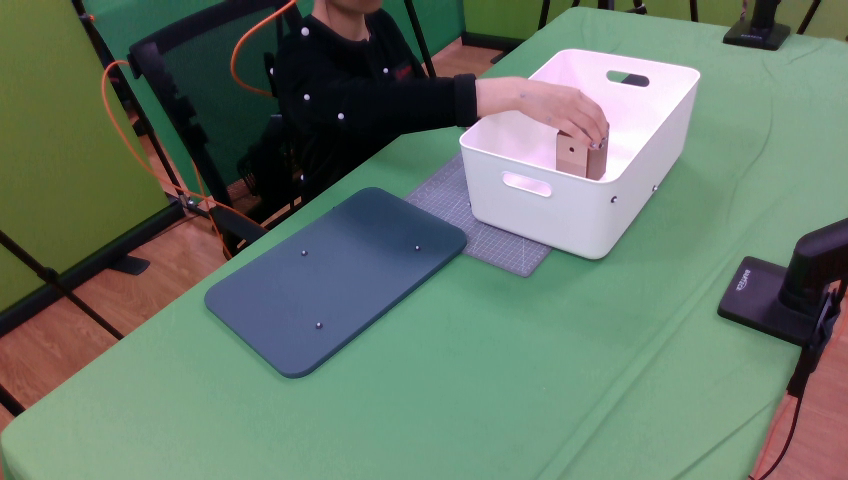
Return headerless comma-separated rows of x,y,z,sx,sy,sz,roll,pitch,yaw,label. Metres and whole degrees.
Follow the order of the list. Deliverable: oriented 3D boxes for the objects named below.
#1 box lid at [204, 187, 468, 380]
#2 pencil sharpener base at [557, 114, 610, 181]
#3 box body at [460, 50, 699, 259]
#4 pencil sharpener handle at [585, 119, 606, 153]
-0.135,0.044,0.963,0.261,0.015,0.373,29,53,36,box lid
0.270,-0.147,1.024,0.061,0.107,0.077,24,49,34,pencil sharpener base
0.261,-0.153,1.001,0.252,0.161,0.365,21,48,31,box body
0.302,-0.184,1.044,0.035,0.068,0.031,22,48,36,pencil sharpener handle
